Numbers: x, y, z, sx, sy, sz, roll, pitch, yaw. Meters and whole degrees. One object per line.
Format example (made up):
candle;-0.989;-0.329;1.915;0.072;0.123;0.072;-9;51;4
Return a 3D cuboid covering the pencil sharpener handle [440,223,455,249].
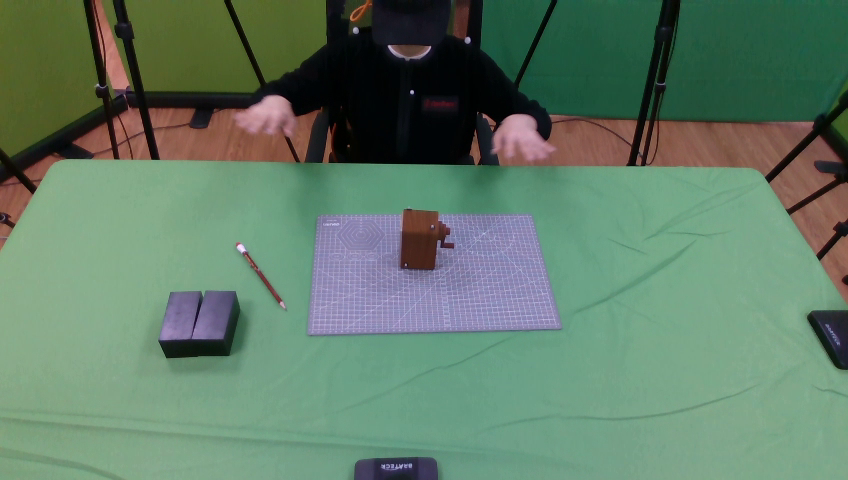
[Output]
pencil sharpener handle;0.045;-0.007;1.127;0.030;0.068;0.036;3;52;-1

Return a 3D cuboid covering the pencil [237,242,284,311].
pencil;-0.303;0.066;1.122;0.012;0.012;0.193;-26;54;-26

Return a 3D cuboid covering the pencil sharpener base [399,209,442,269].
pencil sharpener base;-0.007;0.000;1.134;0.077;0.107;0.061;3;46;-1
